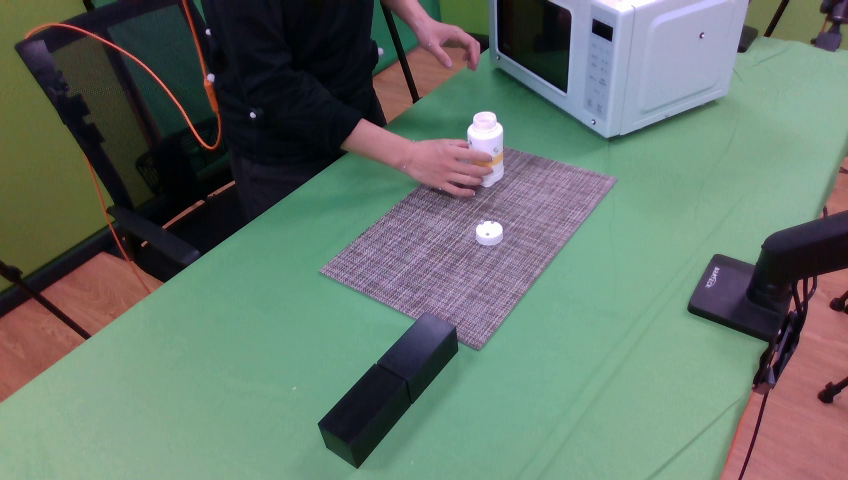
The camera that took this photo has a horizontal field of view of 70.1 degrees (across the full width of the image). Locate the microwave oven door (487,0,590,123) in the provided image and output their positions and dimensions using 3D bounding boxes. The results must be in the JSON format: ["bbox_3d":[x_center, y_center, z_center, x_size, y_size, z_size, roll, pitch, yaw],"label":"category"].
[{"bbox_3d":[0.231,-0.420,1.230,0.039,0.245,0.352,-22,43,-16],"label":"microwave oven door"}]

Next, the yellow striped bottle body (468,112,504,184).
[{"bbox_3d":[0.110,-0.164,1.064,0.063,0.121,0.062,-4,41,4],"label":"yellow striped bottle body"}]

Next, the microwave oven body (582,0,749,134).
[{"bbox_3d":[0.382,-0.444,1.246,0.327,0.261,0.437,-22,42,-16],"label":"microwave oven body"}]

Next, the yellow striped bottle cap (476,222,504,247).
[{"bbox_3d":[0.105,-0.010,0.966,0.044,0.019,0.044,-4,39,4],"label":"yellow striped bottle cap"}]

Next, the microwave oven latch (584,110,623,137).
[{"bbox_3d":[0.337,-0.222,1.142,0.030,0.029,0.078,-21,42,-14],"label":"microwave oven latch"}]
